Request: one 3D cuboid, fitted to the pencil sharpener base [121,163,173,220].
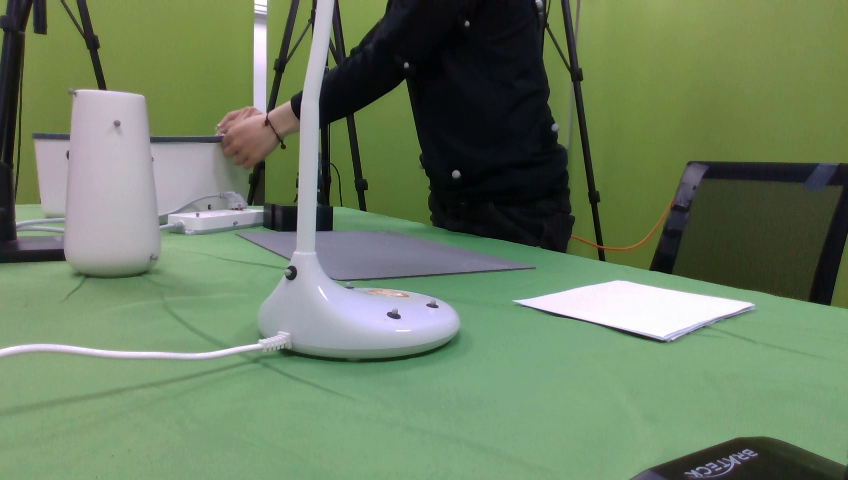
[{"bbox_3d":[-0.539,-0.095,1.174,0.076,0.107,0.061,4,7,21],"label":"pencil sharpener base"}]

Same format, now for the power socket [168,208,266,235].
[{"bbox_3d":[-0.379,-0.038,1.129,0.072,0.032,0.227,4,8,19],"label":"power socket"}]

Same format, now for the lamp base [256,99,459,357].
[{"bbox_3d":[-0.055,-0.013,0.463,0.160,0.180,0.180,6,11,27],"label":"lamp base"}]

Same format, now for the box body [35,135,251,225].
[{"bbox_3d":[-0.559,-0.127,1.257,0.253,0.160,0.365,4,8,15],"label":"box body"}]

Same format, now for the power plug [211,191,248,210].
[{"bbox_3d":[-0.384,-0.071,1.205,0.072,0.052,0.035,2,9,28],"label":"power plug"}]

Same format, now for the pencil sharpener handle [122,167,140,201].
[{"bbox_3d":[-0.585,-0.111,1.193,0.030,0.068,0.036,4,14,21],"label":"pencil sharpener handle"}]

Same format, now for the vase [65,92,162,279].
[{"bbox_3d":[-0.348,-0.060,0.673,0.098,0.200,0.098,1,7,0],"label":"vase"}]

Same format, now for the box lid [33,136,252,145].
[{"bbox_3d":[-0.555,-0.203,1.248,0.263,0.015,0.372,1,9,15],"label":"box lid"}]
